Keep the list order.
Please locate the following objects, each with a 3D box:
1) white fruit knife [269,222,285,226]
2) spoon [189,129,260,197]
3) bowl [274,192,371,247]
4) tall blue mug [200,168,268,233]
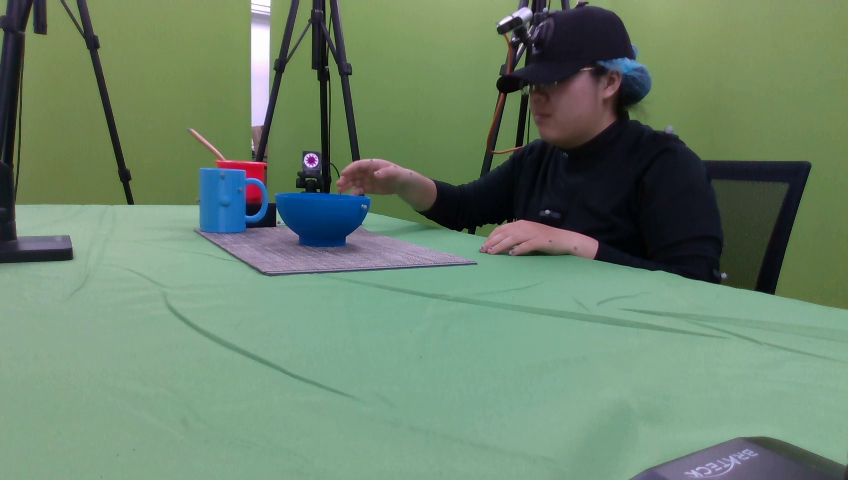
[{"bbox_3d":[-0.222,-0.038,1.261,0.208,0.016,0.027,-4,-17,-31],"label":"white fruit knife"},{"bbox_3d":[-0.389,-0.150,1.174,0.193,0.021,0.042,49,20,7],"label":"spoon"},{"bbox_3d":[-0.161,-0.032,0.958,0.151,0.077,0.151,3,7,0],"label":"bowl"},{"bbox_3d":[-0.342,-0.071,1.072,0.077,0.108,0.108,8,9,38],"label":"tall blue mug"}]
